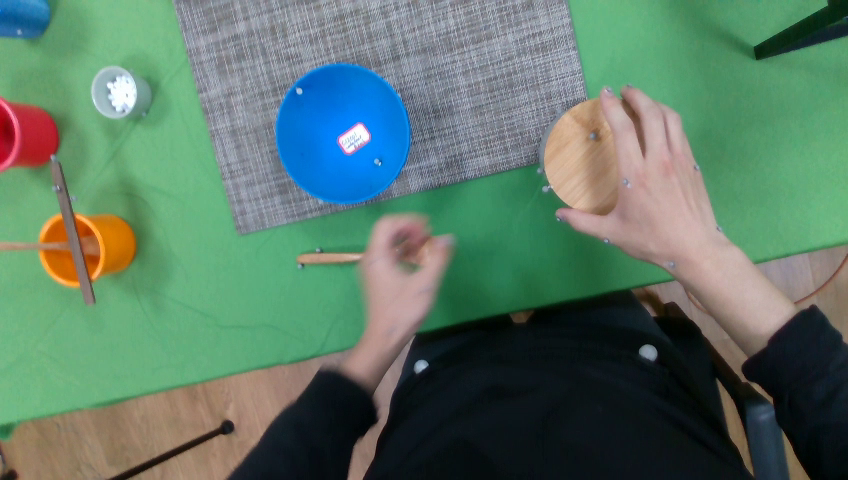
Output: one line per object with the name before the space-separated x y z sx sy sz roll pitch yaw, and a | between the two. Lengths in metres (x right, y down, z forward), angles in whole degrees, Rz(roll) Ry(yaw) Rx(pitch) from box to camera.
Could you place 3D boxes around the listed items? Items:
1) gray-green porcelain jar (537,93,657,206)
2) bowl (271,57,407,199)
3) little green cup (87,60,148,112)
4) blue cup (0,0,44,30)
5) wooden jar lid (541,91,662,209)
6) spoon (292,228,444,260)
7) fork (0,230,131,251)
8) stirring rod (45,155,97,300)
gray-green porcelain jar | 0.171 -0.095 0.625 0.106 0.126 0.106 1 101 7
bowl | -0.086 -0.123 0.684 0.151 0.077 0.151 1 99 9
little green cup | -0.373 -0.186 0.742 0.061 0.038 0.061 1 99 9
blue cup | -0.514 -0.290 0.716 0.092 0.100 0.093 2 99 10
wooden jar lid | 0.164 -0.083 0.565 0.108 0.020 0.108 1 100 7
spoon | -0.071 0.011 0.734 0.193 0.021 0.042 -5 117 9
fork | -0.468 0.001 0.729 0.208 0.018 0.028 0 104 -35
stirring rod | -0.417 -0.013 0.716 0.014 0.006 0.176 -11 97 12
